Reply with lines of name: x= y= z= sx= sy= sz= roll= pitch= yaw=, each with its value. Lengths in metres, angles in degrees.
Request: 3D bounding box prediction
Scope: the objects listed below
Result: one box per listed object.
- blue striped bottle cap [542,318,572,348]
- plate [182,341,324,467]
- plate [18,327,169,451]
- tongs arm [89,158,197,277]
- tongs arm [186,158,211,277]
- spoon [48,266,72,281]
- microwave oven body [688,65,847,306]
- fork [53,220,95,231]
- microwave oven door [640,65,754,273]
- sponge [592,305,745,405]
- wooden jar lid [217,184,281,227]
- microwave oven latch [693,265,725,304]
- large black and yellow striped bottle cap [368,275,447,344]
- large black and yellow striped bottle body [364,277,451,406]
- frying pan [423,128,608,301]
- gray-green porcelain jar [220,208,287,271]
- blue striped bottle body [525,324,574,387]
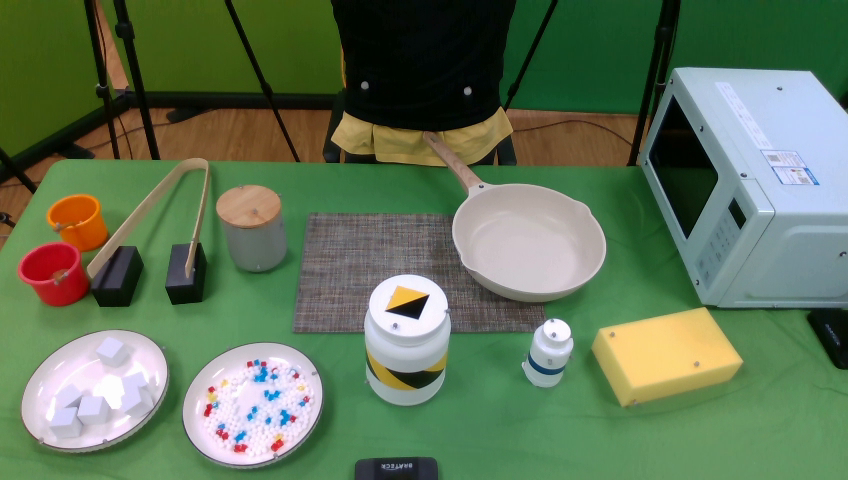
blue striped bottle cap: x=0.205 y=0.143 z=0.933 sx=0.044 sy=0.021 sz=0.044 roll=0 pitch=47 yaw=0
plate: x=-0.257 y=0.250 z=0.927 sx=0.209 sy=0.038 sz=0.208 roll=3 pitch=46 yaw=-2
plate: x=-0.498 y=0.229 z=0.929 sx=0.208 sy=0.039 sz=0.206 roll=2 pitch=47 yaw=-2
tongs arm: x=-0.531 y=-0.057 z=1.163 sx=0.028 sy=0.028 sz=0.385 roll=1 pitch=35 yaw=7
tongs arm: x=-0.446 y=-0.057 z=1.168 sx=0.051 sy=0.026 sz=0.382 roll=-4 pitch=37 yaw=-7
spoon: x=-0.609 y=0.057 z=1.010 sx=0.041 sy=0.022 sz=0.193 roll=-32 pitch=13 yaw=-27
microwave oven body: x=0.669 y=-0.111 z=1.176 sx=0.326 sy=0.261 sz=0.439 roll=0 pitch=46 yaw=-3
fork: x=-0.627 y=-0.027 z=1.086 sx=0.028 sy=0.018 sz=0.207 roll=0 pitch=2 yaw=-15
microwave oven door: x=0.523 y=-0.147 z=1.193 sx=0.039 sy=0.245 sz=0.353 roll=0 pitch=47 yaw=-3
sponge: x=0.405 y=0.190 z=1.014 sx=0.207 sy=0.061 sz=0.117 roll=-10 pitch=48 yaw=-13
wooden jar lid: x=-0.307 y=-0.057 z=1.067 sx=0.108 sy=0.021 sz=0.107 roll=5 pitch=44 yaw=-4
microwave oven latch: x=0.523 y=0.081 z=1.116 sx=0.030 sy=0.029 sz=0.078 roll=2 pitch=46 yaw=-1
large black and yellow striped bottle cap: x=-0.024 y=0.098 z=0.871 sx=0.115 sy=0.019 sz=0.114 roll=2 pitch=45 yaw=-2
large black and yellow striped bottle body: x=-0.026 y=0.155 z=0.933 sx=0.131 sy=0.185 sz=0.130 roll=2 pitch=47 yaw=-2
frying pan: x=0.142 y=-0.069 z=1.208 sx=0.307 sy=0.103 sz=0.485 roll=-23 pitch=60 yaw=-25
gray-green porcelain jar: x=-0.309 y=-0.014 z=1.113 sx=0.106 sy=0.127 sz=0.105 roll=1 pitch=47 yaw=-1
blue striped bottle body: x=0.202 y=0.179 z=0.970 sx=0.063 sy=0.121 sz=0.062 roll=2 pitch=46 yaw=-2
